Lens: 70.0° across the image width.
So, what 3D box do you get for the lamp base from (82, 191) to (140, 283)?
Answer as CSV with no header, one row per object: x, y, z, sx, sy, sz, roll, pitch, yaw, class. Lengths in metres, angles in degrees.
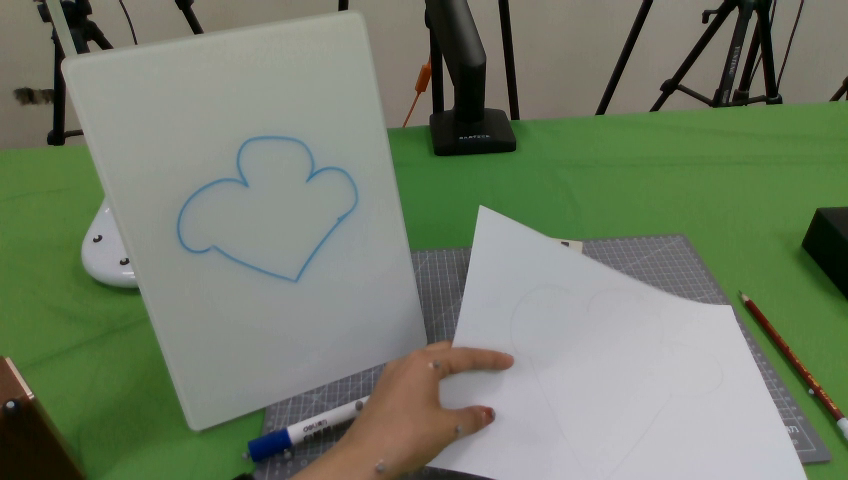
-0.323,-0.069,0.664,0.177,0.182,0.160,22,44,32,lamp base

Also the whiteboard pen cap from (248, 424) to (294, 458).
-0.121,0.160,0.482,0.033,0.018,0.018,-18,40,-18,whiteboard pen cap

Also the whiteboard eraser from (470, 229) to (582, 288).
0.109,0.020,0.640,0.112,0.042,0.055,8,40,13,whiteboard eraser

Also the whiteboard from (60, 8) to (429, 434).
-0.143,-0.027,0.546,0.218,0.307,0.142,-17,20,-17,whiteboard

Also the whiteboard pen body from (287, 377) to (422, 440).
-0.067,0.142,0.500,0.141,0.017,0.017,-16,40,-17,whiteboard pen body

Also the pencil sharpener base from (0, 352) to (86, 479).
-0.309,0.149,0.437,0.061,0.108,0.077,30,48,34,pencil sharpener base

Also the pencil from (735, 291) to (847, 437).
0.333,0.108,0.548,0.012,0.012,0.192,-6,35,-4,pencil
